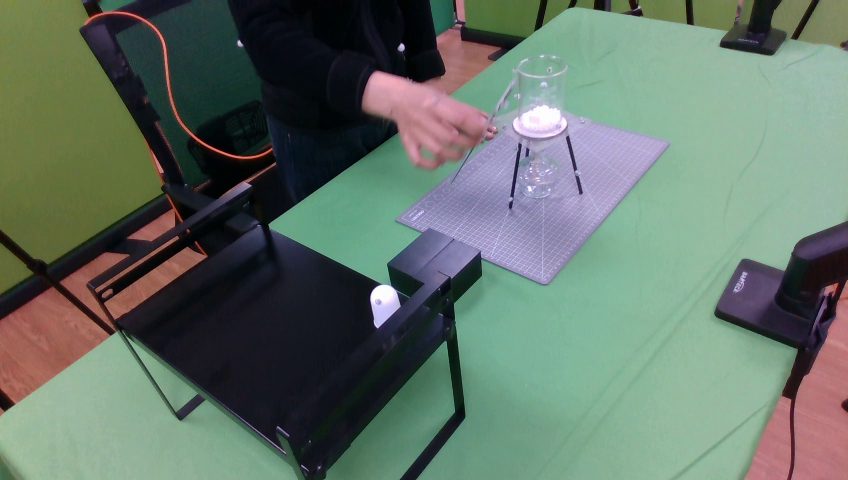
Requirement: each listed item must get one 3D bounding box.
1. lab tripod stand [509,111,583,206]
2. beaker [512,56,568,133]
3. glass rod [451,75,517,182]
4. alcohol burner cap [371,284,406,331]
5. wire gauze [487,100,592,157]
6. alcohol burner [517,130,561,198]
[{"bbox_3d":[0.198,-0.140,1.020,0.148,0.132,0.147,-3,39,3],"label":"lab tripod stand"},{"bbox_3d":[0.181,-0.225,0.946,0.084,0.101,0.074,2,41,12],"label":"beaker"},{"bbox_3d":[0.074,-0.137,0.781,0.008,0.199,0.008,12,53,-16],"label":"glass rod"},{"bbox_3d":[-0.037,0.065,0.608,0.034,0.048,0.033,-4,41,4],"label":"alcohol burner cap"},{"bbox_3d":[0.185,-0.187,0.974,0.122,0.011,0.124,-28,47,-22],"label":"wire gauze"},{"bbox_3d":[0.193,-0.131,1.026,0.078,0.119,0.077,-4,38,4],"label":"alcohol burner"}]
